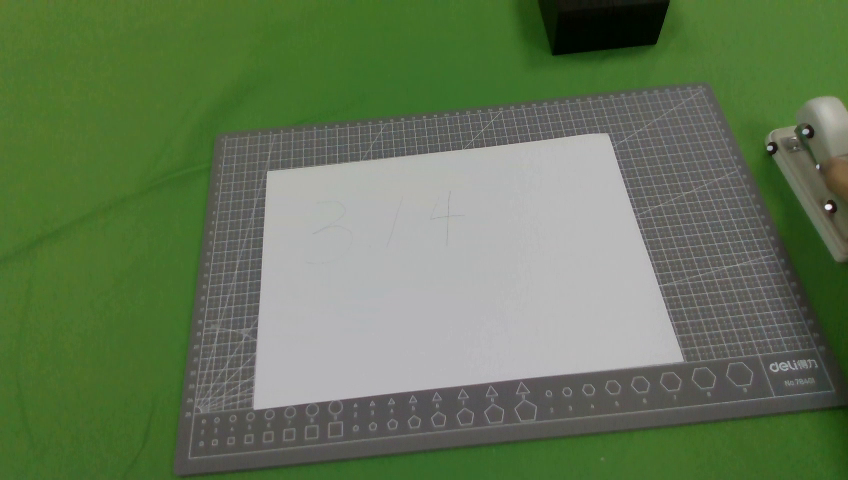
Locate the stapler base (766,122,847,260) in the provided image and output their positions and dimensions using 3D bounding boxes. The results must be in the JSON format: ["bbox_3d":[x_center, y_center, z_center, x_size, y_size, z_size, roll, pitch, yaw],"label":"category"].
[{"bbox_3d":[0.317,-0.047,0.476,0.041,0.024,0.129,-12,61,1],"label":"stapler base"}]

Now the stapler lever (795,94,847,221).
[{"bbox_3d":[0.316,-0.058,0.453,0.027,0.040,0.117,-12,61,1],"label":"stapler lever"}]
